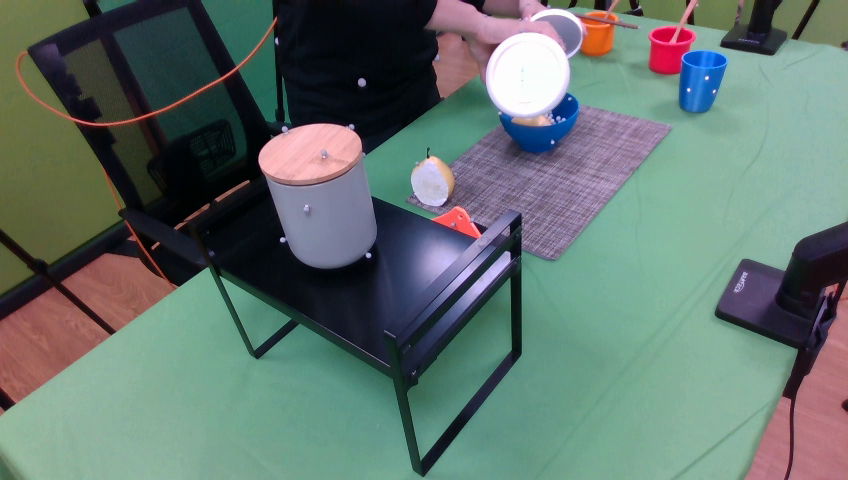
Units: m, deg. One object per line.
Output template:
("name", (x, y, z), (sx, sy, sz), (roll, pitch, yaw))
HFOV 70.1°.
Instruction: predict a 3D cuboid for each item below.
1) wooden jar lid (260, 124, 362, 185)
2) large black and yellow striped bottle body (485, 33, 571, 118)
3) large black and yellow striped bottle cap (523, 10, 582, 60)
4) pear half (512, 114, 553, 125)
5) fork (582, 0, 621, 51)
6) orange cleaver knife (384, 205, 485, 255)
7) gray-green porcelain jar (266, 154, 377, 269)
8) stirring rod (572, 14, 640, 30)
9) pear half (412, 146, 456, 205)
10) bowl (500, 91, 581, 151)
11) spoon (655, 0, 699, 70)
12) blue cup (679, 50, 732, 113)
("wooden jar lid", (-0.119, -0.088, 0.645), (0.108, 0.021, 0.108), (-4, 40, 4))
("large black and yellow striped bottle body", (0.181, -0.276, 1.027), (0.130, 0.131, 0.184), (4, 14, 14))
("large black and yellow striped bottle cap", (0.249, -0.394, 1.177), (0.115, 0.115, 0.018), (2, 58, 12))
("pear half", (0.212, -0.228, 1.152), (0.088, 0.031, 0.070), (7, 44, 9))
("fork", (0.446, -0.539, 1.438), (0.207, 0.019, 0.028), (-57, 36, 12))
("orange cleaver knife", (0.012, -0.010, 0.942), (0.012, 0.077, 0.210), (-37, 19, -35))
("gray-green porcelain jar", (-0.112, -0.039, 0.685), (0.106, 0.127, 0.105), (-4, 40, 4))
("stirring rod", (0.419, -0.508, 1.404), (0.174, 0.006, 0.014), (28, 55, 35))
("pear half", (0.019, -0.120, 1.042), (0.076, 0.110, 0.056), (11, 44, 16))
("bowl", (0.220, -0.223, 1.155), (0.151, 0.077, 0.150), (-4, 40, 4))
("spoon", (0.567, -0.463, 1.337), (0.041, 0.022, 0.193), (30, 97, 37))
("blue cup", (0.545, -0.309, 1.193), (0.092, 0.100, 0.092), (-4, 39, 3))
